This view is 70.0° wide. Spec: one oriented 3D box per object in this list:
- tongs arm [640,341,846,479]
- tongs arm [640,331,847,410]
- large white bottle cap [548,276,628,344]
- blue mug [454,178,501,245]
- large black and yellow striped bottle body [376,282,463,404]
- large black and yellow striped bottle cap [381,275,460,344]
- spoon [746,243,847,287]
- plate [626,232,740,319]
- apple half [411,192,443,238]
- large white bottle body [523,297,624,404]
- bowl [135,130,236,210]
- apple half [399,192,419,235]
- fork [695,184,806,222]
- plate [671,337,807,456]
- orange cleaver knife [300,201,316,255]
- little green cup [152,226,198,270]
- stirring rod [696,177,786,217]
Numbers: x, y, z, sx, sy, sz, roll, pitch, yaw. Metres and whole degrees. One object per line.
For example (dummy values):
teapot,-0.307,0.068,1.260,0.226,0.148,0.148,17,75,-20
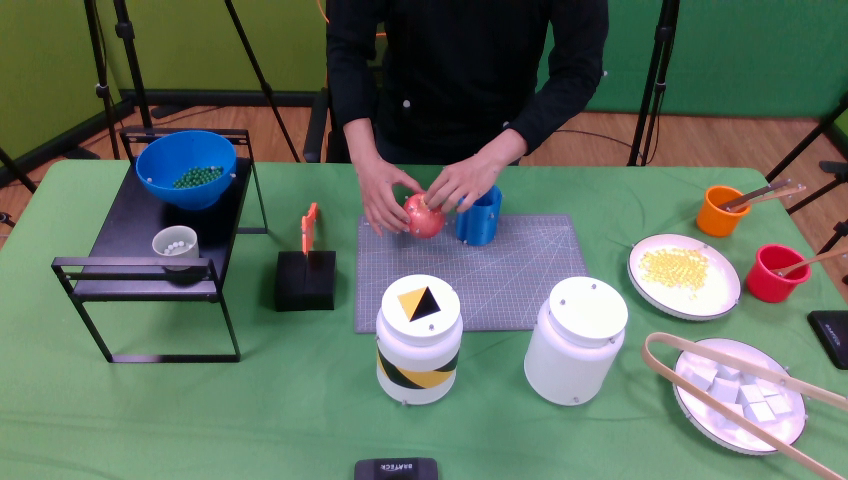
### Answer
tongs arm,0.500,0.278,0.920,0.386,0.028,0.028,34,60,22
tongs arm,0.543,0.226,0.969,0.384,0.026,0.050,22,53,13
large white bottle cap,0.240,0.100,0.890,0.115,0.018,0.114,3,47,-3
blue mug,0.106,-0.067,1.208,0.082,0.106,0.116,6,46,1
large black and yellow striped bottle body,-0.010,0.155,0.937,0.131,0.185,0.130,2,47,-2
large black and yellow striped bottle cap,-0.005,0.098,0.875,0.115,0.019,0.114,2,45,-2
spoon,0.702,0.043,1.126,0.194,0.022,0.041,-29,38,30
plate,0.489,0.071,1.157,0.209,0.038,0.208,3,46,-3
apple half,0.008,-0.043,1.115,0.053,0.075,0.080,12,41,0
large white bottle body,0.235,0.159,0.952,0.131,0.185,0.130,2,47,-2
bowl,-0.375,-0.102,0.978,0.151,0.077,0.150,2,46,-2
apple half,-0.031,-0.050,1.117,0.033,0.081,0.081,13,47,-1
fork,0.658,-0.074,1.230,0.207,0.019,0.028,-24,33,36
plate,0.503,0.254,0.984,0.208,0.039,0.206,2,46,-2
orange cleaver knife,-0.221,-0.027,1.160,0.012,0.077,0.210,-2,15,-4
little green cup,-0.364,0.013,0.894,0.061,0.039,0.061,3,47,-3
stirring rod,0.648,-0.087,1.244,0.176,0.006,0.014,-25,50,29
